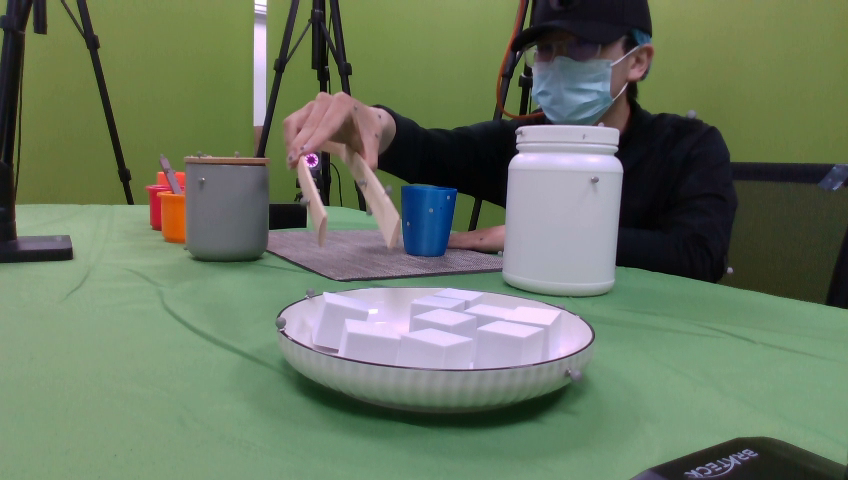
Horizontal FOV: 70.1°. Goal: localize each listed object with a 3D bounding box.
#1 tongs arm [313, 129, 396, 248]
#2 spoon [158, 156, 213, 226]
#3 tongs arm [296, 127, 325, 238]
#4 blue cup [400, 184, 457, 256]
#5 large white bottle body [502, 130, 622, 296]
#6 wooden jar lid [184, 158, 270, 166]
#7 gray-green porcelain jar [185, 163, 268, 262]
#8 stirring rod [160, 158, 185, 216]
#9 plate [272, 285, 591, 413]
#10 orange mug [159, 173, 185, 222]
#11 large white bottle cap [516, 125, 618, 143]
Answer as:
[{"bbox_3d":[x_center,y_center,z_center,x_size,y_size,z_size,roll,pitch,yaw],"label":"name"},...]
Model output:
[{"bbox_3d":[-0.083,-0.070,0.624,0.051,0.026,0.383,8,17,-15],"label":"tongs arm"},{"bbox_3d":[-0.435,-0.094,1.121,0.041,0.022,0.193,5,51,13],"label":"spoon"},{"bbox_3d":[-0.114,-0.075,0.614,0.028,0.028,0.386,5,18,-15],"label":"tongs arm"},{"bbox_3d":[0.003,-0.030,0.901,0.093,0.100,0.092,4,9,0],"label":"blue cup"},{"bbox_3d":[0.160,-0.036,0.706,0.131,0.184,0.130,2,7,0],"label":"large white bottle body"},{"bbox_3d":[-0.260,-0.099,0.801,0.108,0.020,0.108,0,9,0],"label":"wooden jar lid"},{"bbox_3d":[-0.263,-0.038,0.808,0.106,0.126,0.106,3,8,0],"label":"gray-green porcelain jar"},{"bbox_3d":[-0.391,-0.070,0.971,0.014,0.006,0.175,-2,50,-48],"label":"stirring rod"},{"bbox_3d":[0.004,0.069,0.407,0.208,0.039,0.207,2,7,0],"label":"plate"},{"bbox_3d":[-0.477,-0.089,1.241,0.127,0.101,0.083,-7,11,-33],"label":"orange mug"},{"bbox_3d":[0.163,-0.120,0.695,0.115,0.018,0.115,2,8,0],"label":"large white bottle cap"}]
